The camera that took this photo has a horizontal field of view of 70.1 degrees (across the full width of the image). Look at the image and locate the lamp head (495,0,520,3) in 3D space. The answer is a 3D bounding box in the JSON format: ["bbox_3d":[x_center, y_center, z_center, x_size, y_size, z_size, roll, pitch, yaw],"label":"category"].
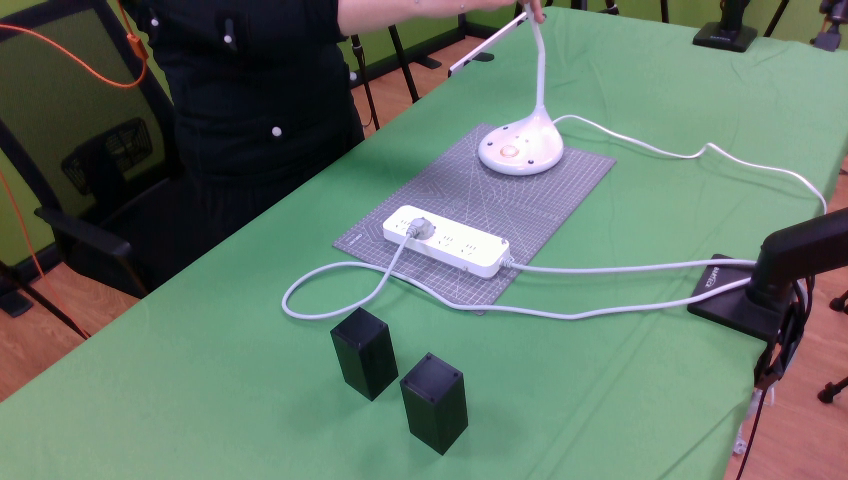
[{"bbox_3d":[0.125,-0.417,0.859,0.111,0.113,0.123,25,72,33],"label":"lamp head"}]

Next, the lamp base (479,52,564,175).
[{"bbox_3d":[0.182,-0.236,1.095,0.159,0.181,0.179,20,44,28],"label":"lamp base"}]

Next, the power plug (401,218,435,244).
[{"bbox_3d":[-0.014,-0.005,0.937,0.073,0.053,0.035,-38,47,-26],"label":"power plug"}]

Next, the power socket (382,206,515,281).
[{"bbox_3d":[0.032,0.002,0.950,0.225,0.033,0.072,21,49,29],"label":"power socket"}]
